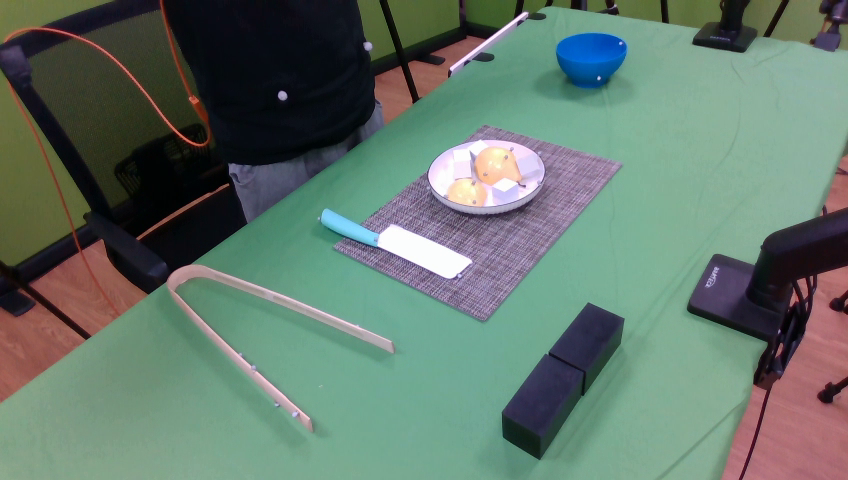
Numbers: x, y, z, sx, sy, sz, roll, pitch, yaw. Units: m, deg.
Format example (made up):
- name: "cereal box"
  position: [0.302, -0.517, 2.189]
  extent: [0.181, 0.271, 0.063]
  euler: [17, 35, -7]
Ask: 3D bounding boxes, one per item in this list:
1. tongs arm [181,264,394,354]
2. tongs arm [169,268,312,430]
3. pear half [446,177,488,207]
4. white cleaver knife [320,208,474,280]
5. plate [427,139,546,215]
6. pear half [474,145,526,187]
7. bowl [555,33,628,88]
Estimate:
- name: "tongs arm"
  position: [-0.208, 0.095, 0.884]
  extent: [0.385, 0.028, 0.028]
  euler: [17, 48, 25]
- name: "tongs arm"
  position: [-0.259, 0.136, 0.836]
  extent: [0.381, 0.026, 0.051]
  euler: [27, 50, 35]
- name: "pear half"
  position: [0.073, -0.086, 1.031]
  extent: [0.070, 0.031, 0.087]
  euler: [-20, 36, -10]
- name: "white cleaver knife"
  position: [-0.052, 0.000, 0.978]
  extent: [0.284, 0.021, 0.066]
  euler: [23, 42, 26]
- name: "plate"
  position: [0.109, -0.106, 1.058]
  extent: [0.207, 0.039, 0.206]
  euler: [-4, 41, 4]
- name: "pear half"
  position: [0.140, -0.129, 1.059]
  extent: [0.076, 0.056, 0.109]
  euler: [-37, 52, -25]
- name: "bowl"
  position: [0.361, -0.384, 1.318]
  extent: [0.151, 0.077, 0.150]
  euler: [-4, 41, 4]
